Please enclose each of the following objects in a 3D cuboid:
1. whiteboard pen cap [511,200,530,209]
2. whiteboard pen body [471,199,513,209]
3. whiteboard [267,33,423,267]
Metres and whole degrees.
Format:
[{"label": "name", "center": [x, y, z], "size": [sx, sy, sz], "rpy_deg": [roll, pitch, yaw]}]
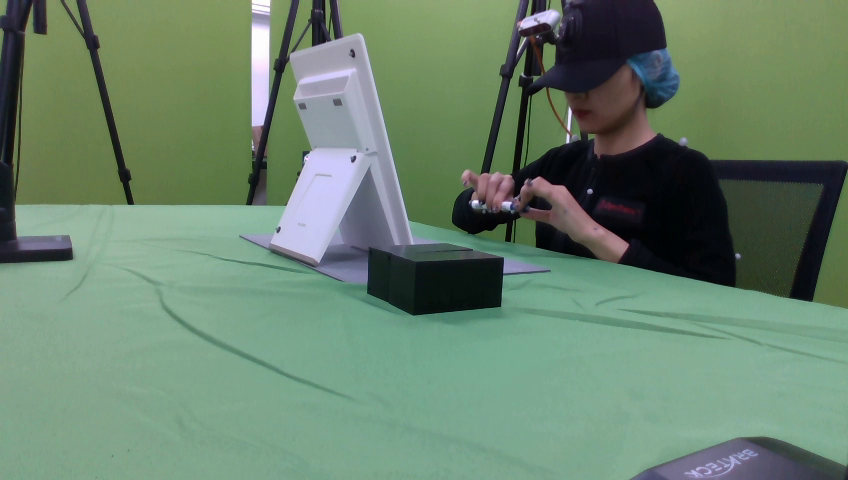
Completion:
[{"label": "whiteboard pen cap", "center": [0.162, -0.060, 1.018], "size": [0.018, 0.018, 0.033], "rpy_deg": [-2, 4, -32]}, {"label": "whiteboard pen body", "center": [0.130, -0.063, 1.067], "size": [0.017, 0.017, 0.140], "rpy_deg": [-2, 4, -32]}, {"label": "whiteboard", "center": [-0.153, -0.098, 0.819], "size": [0.144, 0.305, 0.216], "rpy_deg": [-25, 21, -29]}]
